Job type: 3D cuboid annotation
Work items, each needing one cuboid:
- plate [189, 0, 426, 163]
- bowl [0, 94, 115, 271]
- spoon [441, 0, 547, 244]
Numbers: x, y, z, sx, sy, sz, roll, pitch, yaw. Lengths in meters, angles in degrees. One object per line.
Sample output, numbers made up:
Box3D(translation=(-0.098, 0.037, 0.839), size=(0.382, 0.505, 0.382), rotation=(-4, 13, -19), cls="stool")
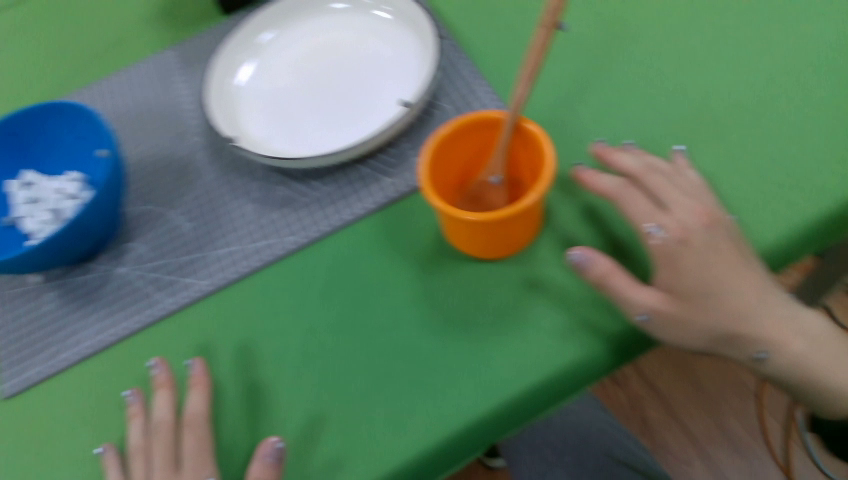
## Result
Box3D(translation=(-0.100, -0.150, 0.533), size=(0.209, 0.038, 0.207), rotation=(-4, 62, 8), cls="plate")
Box3D(translation=(-0.308, -0.033, 0.484), size=(0.151, 0.077, 0.150), rotation=(-4, 62, 8), cls="bowl")
Box3D(translation=(0.052, -0.086, 0.414), size=(0.041, 0.194, 0.021), rotation=(26, 25, 21), cls="spoon")
